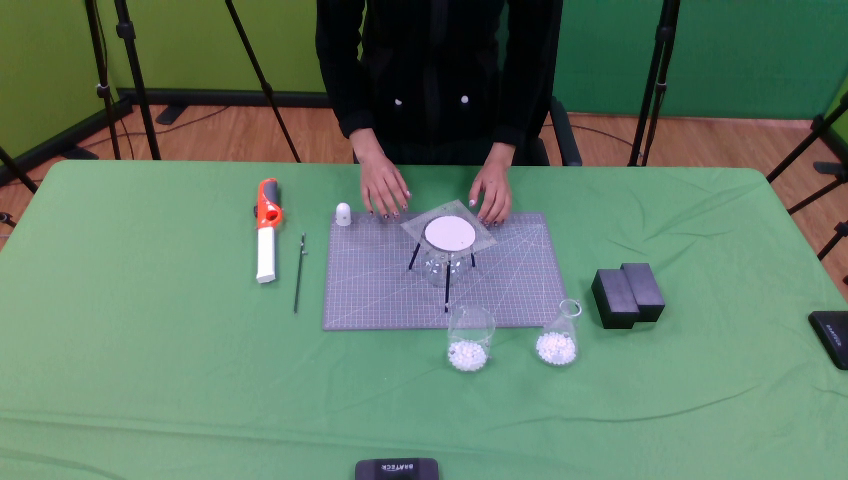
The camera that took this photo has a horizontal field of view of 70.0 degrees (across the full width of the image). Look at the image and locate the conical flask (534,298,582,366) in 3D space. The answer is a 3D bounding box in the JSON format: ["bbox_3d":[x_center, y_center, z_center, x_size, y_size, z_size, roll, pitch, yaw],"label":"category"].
[{"bbox_3d":[0.229,0.149,1.005,0.075,0.122,0.075,2,46,-2],"label":"conical flask"}]

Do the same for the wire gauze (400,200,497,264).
[{"bbox_3d":[0.042,-0.014,1.041,0.125,0.011,0.120,-22,50,-25],"label":"wire gauze"}]

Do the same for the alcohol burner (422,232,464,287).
[{"bbox_3d":[0.035,0.030,1.107,0.078,0.120,0.077,1,47,-1],"label":"alcohol burner"}]

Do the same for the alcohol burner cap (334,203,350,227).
[{"bbox_3d":[-0.166,-0.053,1.220,0.034,0.048,0.033,2,46,-2],"label":"alcohol burner cap"}]

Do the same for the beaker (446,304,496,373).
[{"bbox_3d":[0.072,0.166,0.992,0.084,0.101,0.073,-21,51,-22],"label":"beaker"}]

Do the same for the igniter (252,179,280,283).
[{"bbox_3d":[-0.312,-0.027,1.197,0.057,0.025,0.274,-12,47,-1],"label":"igniter"}]

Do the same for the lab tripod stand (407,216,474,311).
[{"bbox_3d":[0.039,0.030,1.093,0.148,0.132,0.147,2,44,-2],"label":"lab tripod stand"}]

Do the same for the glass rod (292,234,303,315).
[{"bbox_3d":[-0.236,0.060,1.133,0.008,0.008,0.198,-1,46,-4],"label":"glass rod"}]
